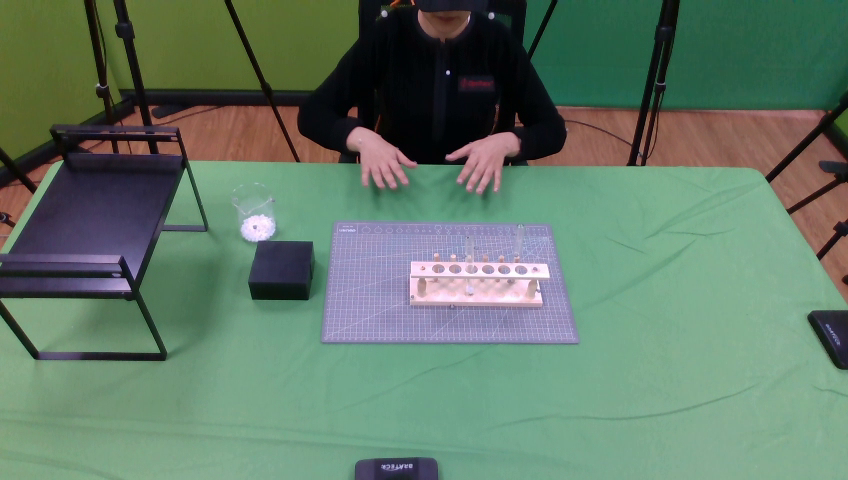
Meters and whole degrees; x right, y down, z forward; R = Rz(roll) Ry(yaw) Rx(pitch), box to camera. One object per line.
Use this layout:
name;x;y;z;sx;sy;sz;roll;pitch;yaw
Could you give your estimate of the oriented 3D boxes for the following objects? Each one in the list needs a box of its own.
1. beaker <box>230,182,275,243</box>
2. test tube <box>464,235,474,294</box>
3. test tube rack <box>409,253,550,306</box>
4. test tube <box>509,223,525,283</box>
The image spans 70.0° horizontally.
beaker;-0.328;-0.049;1.166;0.074;0.101;0.083;2;47;-2
test tube;0.078;0.046;1.044;0.017;0.151;0.017;-2;49;2
test tube rack;0.095;0.067;1.093;0.242;0.085;0.066;1;47;-3
test tube;0.165;0.025;1.077;0.017;0.151;0.017;0;47;1
